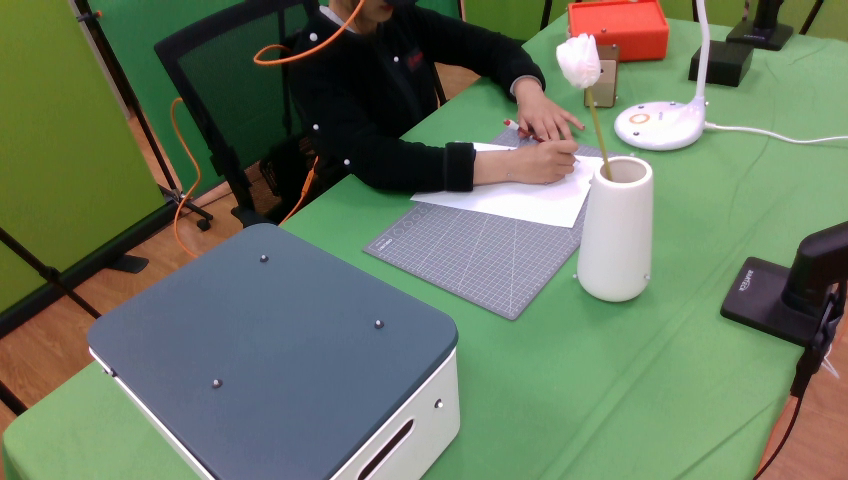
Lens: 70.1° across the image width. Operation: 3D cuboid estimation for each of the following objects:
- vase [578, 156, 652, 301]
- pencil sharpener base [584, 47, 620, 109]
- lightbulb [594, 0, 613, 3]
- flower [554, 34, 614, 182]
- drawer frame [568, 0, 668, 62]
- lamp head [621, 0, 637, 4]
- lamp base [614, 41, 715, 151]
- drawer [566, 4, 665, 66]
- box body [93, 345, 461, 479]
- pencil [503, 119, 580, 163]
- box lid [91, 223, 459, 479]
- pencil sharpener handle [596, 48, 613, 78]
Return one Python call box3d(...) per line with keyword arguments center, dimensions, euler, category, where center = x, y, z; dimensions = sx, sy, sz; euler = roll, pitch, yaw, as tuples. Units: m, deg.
box3d(center=(0.261, -0.011, 0.812), dimensions=(0.098, 0.201, 0.097), euler=(-4, 40, 4), category="vase")
box3d(center=(0.368, -0.336, 1.249), dimensions=(0.061, 0.107, 0.076), euler=(6, 42, 19), category="pencil sharpener base")
box3d(center=(0.305, -0.437, 0.978), dimensions=(0.060, 0.107, 0.059), euler=(12, 43, -11), category="lightbulb")
box3d(center=(0.237, -0.083, 0.774), dimensions=(0.044, 0.363, 0.038), euler=(-22, 26, 6), category="flower")
box3d(center=(0.450, -0.496, 1.441), dimensions=(0.213, 0.083, 0.201), euler=(-1, 40, 9), category="drawer frame")
box3d(center=(0.319, -0.453, 0.962), dimensions=(0.113, 0.123, 0.112), euler=(20, 33, -13), category="lamp head")
box3d(center=(0.449, -0.277, 1.106), dimensions=(0.179, 0.181, 0.160), euler=(1, 41, 9), category="lamp base")
box3d(center=(0.447, -0.493, 1.440), dimensions=(0.211, 0.073, 0.194), euler=(0, 40, 10), category="drawer")
box3d(center=(-0.162, 0.170, 0.708), dimensions=(0.361, 0.161, 0.255), euler=(25, 50, 34), category="box body")
box3d(center=(0.210, -0.170, 1.058), dimensions=(0.196, 0.012, 0.012), euler=(20, 26, -34), category="pencil")
box3d(center=(-0.174, 0.103, 0.667), dimensions=(0.368, 0.015, 0.264), euler=(24, 48, 35), category="box lid")
box3d(center=(0.382, -0.378, 1.276), dimensions=(0.036, 0.068, 0.030), euler=(4, 42, 20), category="pencil sharpener handle")
